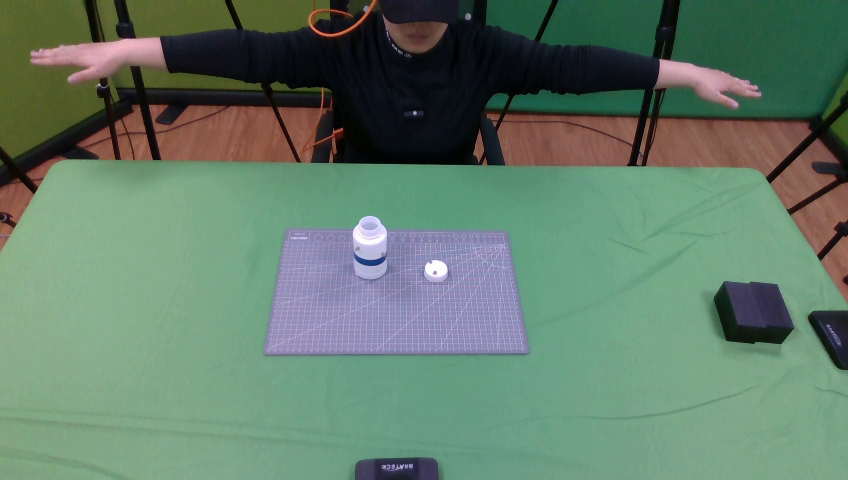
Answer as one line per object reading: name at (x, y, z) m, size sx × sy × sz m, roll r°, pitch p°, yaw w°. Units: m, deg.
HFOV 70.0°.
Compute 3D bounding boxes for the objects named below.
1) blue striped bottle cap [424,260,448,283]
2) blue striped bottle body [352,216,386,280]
blue striped bottle cap at (0.022, 0.059, 1.145) m, size 0.044 × 0.021 × 0.044 m, roll 2°, pitch 48°, yaw -1°
blue striped bottle body at (-0.100, 0.012, 1.107) m, size 0.063 × 0.121 × 0.062 m, roll 2°, pitch 46°, yaw -2°
